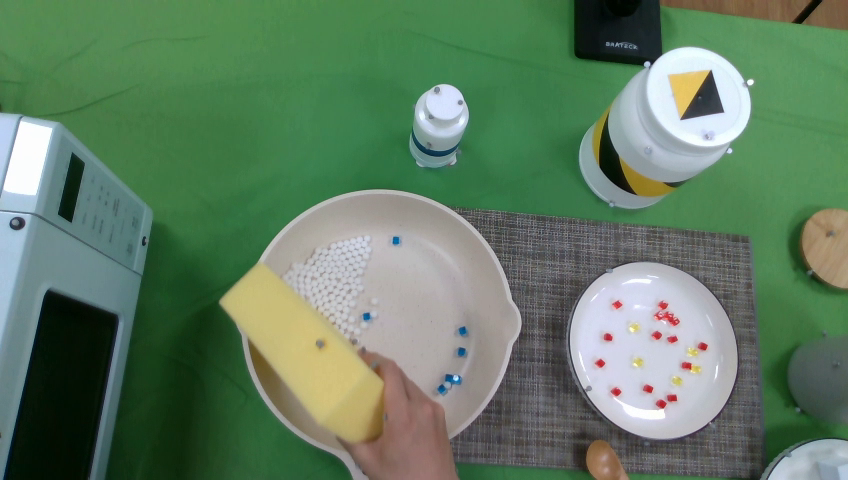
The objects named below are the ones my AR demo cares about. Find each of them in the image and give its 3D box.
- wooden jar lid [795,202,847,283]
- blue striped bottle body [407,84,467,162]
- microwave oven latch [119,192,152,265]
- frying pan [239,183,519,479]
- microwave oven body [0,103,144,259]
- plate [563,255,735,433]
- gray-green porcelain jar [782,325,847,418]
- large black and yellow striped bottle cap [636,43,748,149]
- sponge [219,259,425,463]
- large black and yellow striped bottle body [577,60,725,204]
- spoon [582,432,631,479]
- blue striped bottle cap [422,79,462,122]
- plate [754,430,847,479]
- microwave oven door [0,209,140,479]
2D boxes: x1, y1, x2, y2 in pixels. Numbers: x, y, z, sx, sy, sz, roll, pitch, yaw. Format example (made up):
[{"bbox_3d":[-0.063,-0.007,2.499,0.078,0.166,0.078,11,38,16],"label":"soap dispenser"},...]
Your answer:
[{"bbox_3d":[0.538,0.004,0.797,0.108,0.021,0.108,1,78,-6],"label":"wooden jar lid"},{"bbox_3d":[0.015,-0.143,0.719,0.063,0.121,0.063,2,76,-6],"label":"blue striped bottle body"},{"bbox_3d":[-0.325,-0.014,0.672,0.030,0.029,0.079,8,77,-5],"label":"microwave oven latch"},{"bbox_3d":[-0.054,0.179,0.641,0.307,0.103,0.484,3,68,-3],"label":"frying pan"},{"bbox_3d":[-0.475,0.119,0.524,0.326,0.261,0.439,6,77,-6],"label":"microwave oven body"},{"bbox_3d":[0.264,0.121,0.725,0.209,0.038,0.208,1,77,-6],"label":"plate"},{"bbox_3d":[0.496,0.152,0.702,0.106,0.127,0.105,2,76,-6],"label":"gray-green porcelain jar"},{"bbox_3d":[0.279,-0.151,0.631,0.115,0.019,0.114,2,75,-6],"label":"large black and yellow striped bottle cap"},{"bbox_3d":[-0.105,0.115,0.598,0.061,0.119,0.204,-47,48,-9],"label":"sponge"},{"bbox_3d":[0.270,-0.130,0.714,0.131,0.184,0.130,2,76,-6],"label":"large black and yellow striped bottle body"},{"bbox_3d":[0.248,0.296,0.691,0.193,0.022,0.041,46,59,4],"label":"spoon"},{"bbox_3d":[0.020,-0.155,0.669,0.044,0.021,0.044,2,74,-5],"label":"blue striped bottle cap"},{"bbox_3d":[0.473,0.327,0.704,0.208,0.039,0.206,2,76,-6],"label":"plate"},{"bbox_3d":[-0.333,0.174,0.522,0.039,0.244,0.354,5,76,-5],"label":"microwave oven door"}]
